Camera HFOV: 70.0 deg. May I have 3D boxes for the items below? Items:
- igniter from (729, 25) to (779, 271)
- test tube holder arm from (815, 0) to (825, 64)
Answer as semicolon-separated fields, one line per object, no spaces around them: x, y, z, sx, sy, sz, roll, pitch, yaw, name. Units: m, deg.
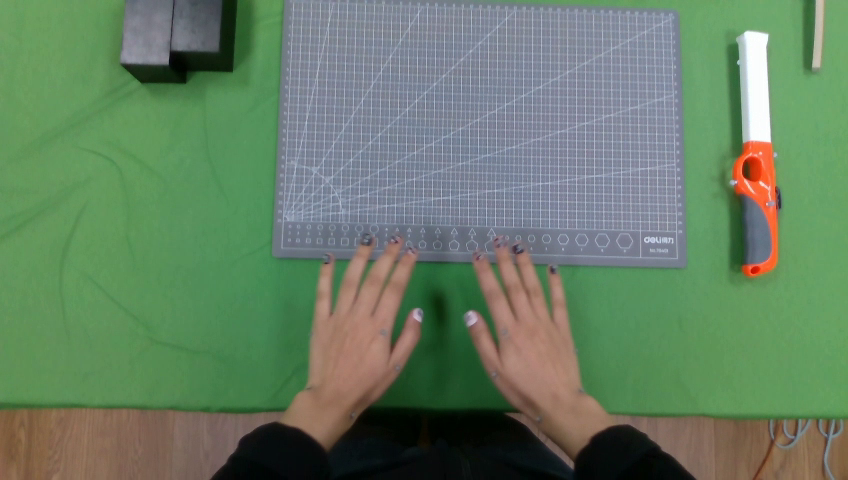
0.365;-0.103;0.672;0.057;0.025;0.275;3;83;-12;igniter
0.456;-0.291;0.699;0.013;0.015;0.178;-2;82;33;test tube holder arm
